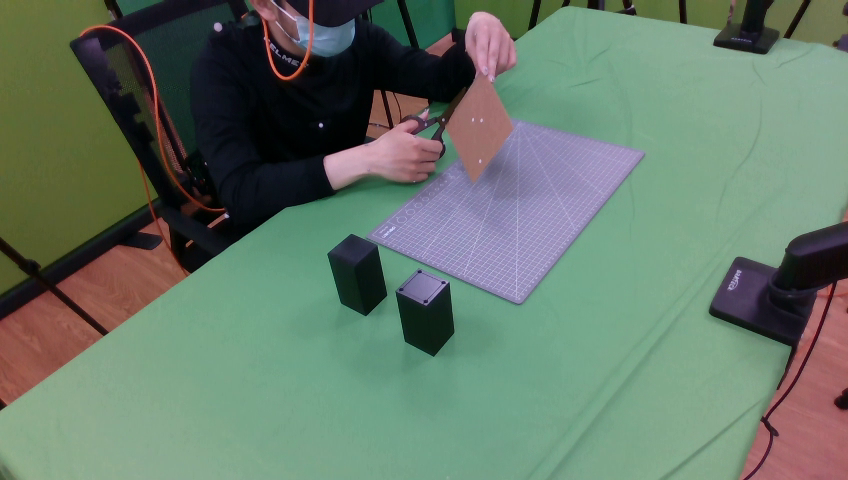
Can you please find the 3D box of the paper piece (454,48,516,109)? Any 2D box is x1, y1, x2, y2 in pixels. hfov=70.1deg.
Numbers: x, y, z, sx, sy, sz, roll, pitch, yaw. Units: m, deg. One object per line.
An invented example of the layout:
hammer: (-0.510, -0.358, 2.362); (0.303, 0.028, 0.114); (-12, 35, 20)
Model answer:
paper piece: (0.100, -0.277, 1.084); (0.008, 0.135, 0.138); (46, 44, 2)

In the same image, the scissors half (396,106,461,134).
scissors half: (0.019, -0.221, 1.069); (0.174, 0.040, 0.013); (-8, 47, 35)

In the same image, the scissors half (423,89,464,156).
scissors half: (0.038, -0.206, 1.077); (0.040, 0.175, 0.013); (26, 54, -2)

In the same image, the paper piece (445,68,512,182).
paper piece: (0.087, -0.189, 0.999); (0.004, 0.135, 0.135); (-2, 56, -31)
